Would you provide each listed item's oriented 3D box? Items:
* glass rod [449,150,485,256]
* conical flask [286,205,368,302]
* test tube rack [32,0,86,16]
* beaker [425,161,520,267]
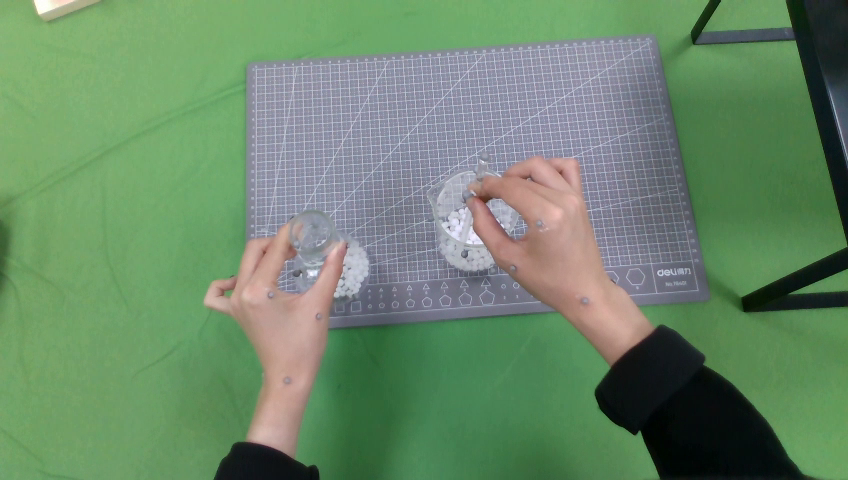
[{"bbox_3d":[0.032,-0.023,0.492,0.008,0.201,0.008,1,69,-3],"label":"glass rod"},{"bbox_3d":[-0.091,0.007,0.538,0.075,0.122,0.075,0,72,0],"label":"conical flask"},{"bbox_3d":[-0.339,-0.343,0.667,0.242,0.085,0.066,-25,75,-6],"label":"test tube rack"},{"bbox_3d":[0.042,-0.019,0.560,0.084,0.101,0.073,19,74,8],"label":"beaker"}]
